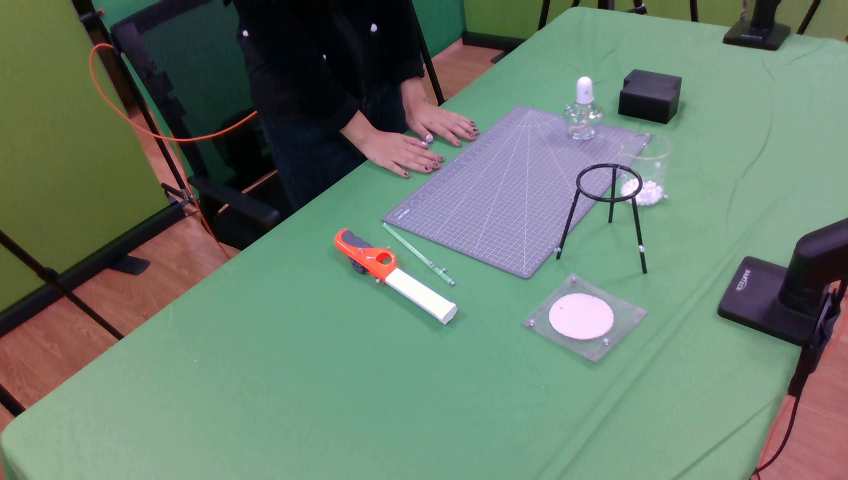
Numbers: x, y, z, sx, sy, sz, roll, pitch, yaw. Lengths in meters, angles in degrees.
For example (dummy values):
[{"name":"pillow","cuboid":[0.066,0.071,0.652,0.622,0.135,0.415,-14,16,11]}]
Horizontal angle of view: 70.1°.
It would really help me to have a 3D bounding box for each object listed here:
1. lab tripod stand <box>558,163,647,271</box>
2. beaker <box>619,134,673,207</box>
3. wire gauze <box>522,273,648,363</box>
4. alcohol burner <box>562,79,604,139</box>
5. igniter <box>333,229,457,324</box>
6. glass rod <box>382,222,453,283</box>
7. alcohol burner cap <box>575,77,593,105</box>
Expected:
[{"name":"lab tripod stand","cuboid":[0.271,-0.034,0.885,0.148,0.132,0.147,-4,40,4]},{"name":"beaker","cuboid":[0.356,-0.111,0.986,0.084,0.101,0.073,-10,40,1]},{"name":"wire gauze","cuboid":[0.220,0.105,0.828,0.125,0.011,0.120,-35,47,-30]},{"name":"alcohol burner","cuboid":[0.303,-0.253,1.147,0.078,0.119,0.077,-4,41,4]},{"name":"igniter","cuboid":[-0.055,0.049,0.929,0.057,0.025,0.274,-42,49,-20]},{"name":"glass rod","cuboid":[-0.014,0.016,0.976,0.008,0.008,0.198,-30,44,-22]},{"name":"alcohol burner cap","cuboid":[0.297,-0.279,1.124,0.034,0.048,0.033,-8,41,8]}]
